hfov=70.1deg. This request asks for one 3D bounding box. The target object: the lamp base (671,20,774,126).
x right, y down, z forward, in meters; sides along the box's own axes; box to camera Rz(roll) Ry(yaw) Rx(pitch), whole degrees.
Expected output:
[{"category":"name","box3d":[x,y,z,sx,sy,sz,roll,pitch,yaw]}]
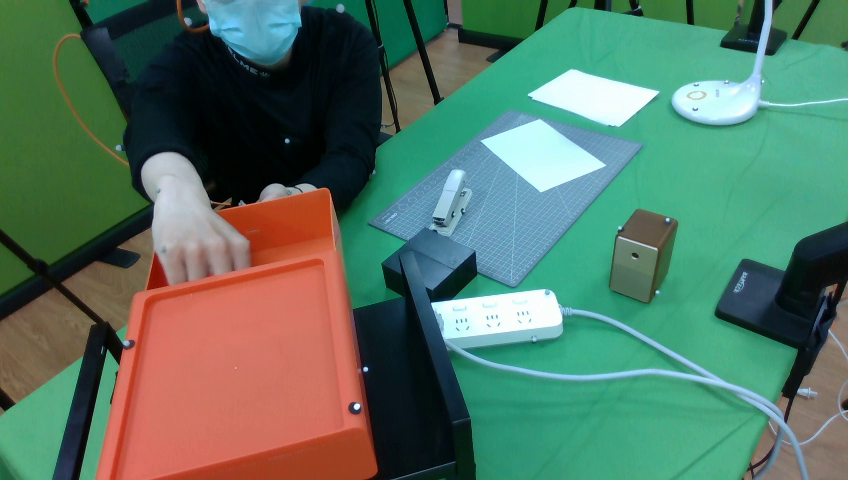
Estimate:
[{"category":"lamp base","box3d":[0.581,-0.332,1.154,0.179,0.181,0.160,2,42,7]}]

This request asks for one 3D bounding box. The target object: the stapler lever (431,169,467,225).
[{"category":"stapler lever","box3d":[0.043,-0.074,1.010,0.026,0.040,0.118,9,44,21]}]

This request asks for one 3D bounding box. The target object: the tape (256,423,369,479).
[{"category":"tape","box3d":[-0.121,0.263,0.660,0.117,0.053,0.116,-5,39,4]}]

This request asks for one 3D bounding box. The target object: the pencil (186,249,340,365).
[{"category":"pencil","box3d":[-0.162,0.065,0.633,0.012,0.012,0.194,30,56,35]}]

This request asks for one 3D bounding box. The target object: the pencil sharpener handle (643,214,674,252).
[{"category":"pencil sharpener handle","box3d":[0.338,-0.016,0.857,0.035,0.068,0.031,1,35,44]}]

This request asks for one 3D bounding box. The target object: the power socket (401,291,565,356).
[{"category":"power socket","box3d":[0.080,0.112,0.822,0.227,0.033,0.072,-6,41,0]}]

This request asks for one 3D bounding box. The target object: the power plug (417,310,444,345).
[{"category":"power plug","box3d":[0.006,0.122,0.785,0.035,0.053,0.072,0,40,9]}]

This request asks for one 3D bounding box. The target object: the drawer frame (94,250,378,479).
[{"category":"drawer frame","box3d":[-0.156,0.119,0.532,0.202,0.083,0.212,-12,41,-7]}]

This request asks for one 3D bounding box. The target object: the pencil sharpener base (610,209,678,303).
[{"category":"pencil sharpener base","box3d":[0.304,0.021,0.839,0.061,0.107,0.077,21,48,30]}]

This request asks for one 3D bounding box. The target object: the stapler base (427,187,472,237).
[{"category":"stapler base","box3d":[0.045,-0.057,1.028,0.041,0.024,0.130,9,44,21]}]

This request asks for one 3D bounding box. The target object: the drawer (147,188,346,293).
[{"category":"drawer","box3d":[-0.180,0.050,0.623,0.195,0.073,0.210,-12,42,-5]}]
